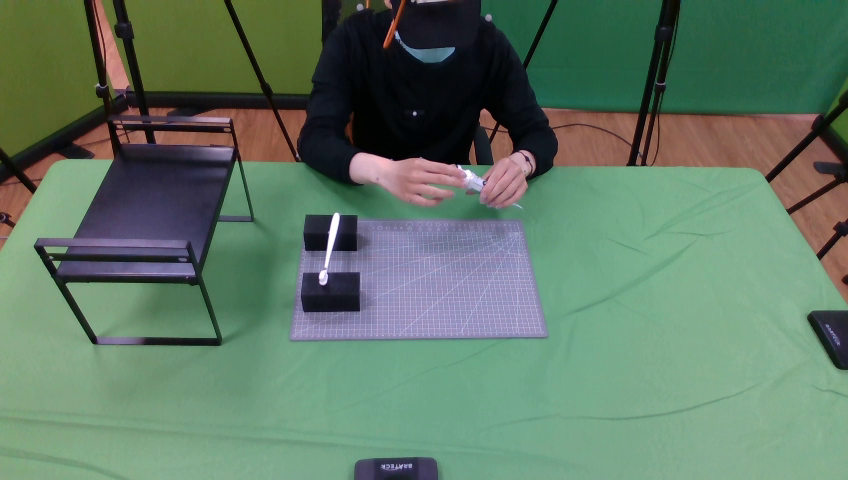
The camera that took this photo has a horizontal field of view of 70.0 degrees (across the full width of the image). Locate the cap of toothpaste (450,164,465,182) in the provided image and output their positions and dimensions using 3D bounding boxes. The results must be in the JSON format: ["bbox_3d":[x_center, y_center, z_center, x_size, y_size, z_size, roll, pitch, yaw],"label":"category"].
[{"bbox_3d":[0.063,-0.125,1.136,0.011,0.037,0.037,18,36,-36],"label":"cap of toothpaste"}]

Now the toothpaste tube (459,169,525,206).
[{"bbox_3d":[0.127,-0.100,1.178,0.166,0.034,0.054,21,13,-33],"label":"toothpaste tube"}]

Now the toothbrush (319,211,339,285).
[{"bbox_3d":[-0.172,0.009,1.103,0.014,0.017,0.180,-7,44,10],"label":"toothbrush"}]
